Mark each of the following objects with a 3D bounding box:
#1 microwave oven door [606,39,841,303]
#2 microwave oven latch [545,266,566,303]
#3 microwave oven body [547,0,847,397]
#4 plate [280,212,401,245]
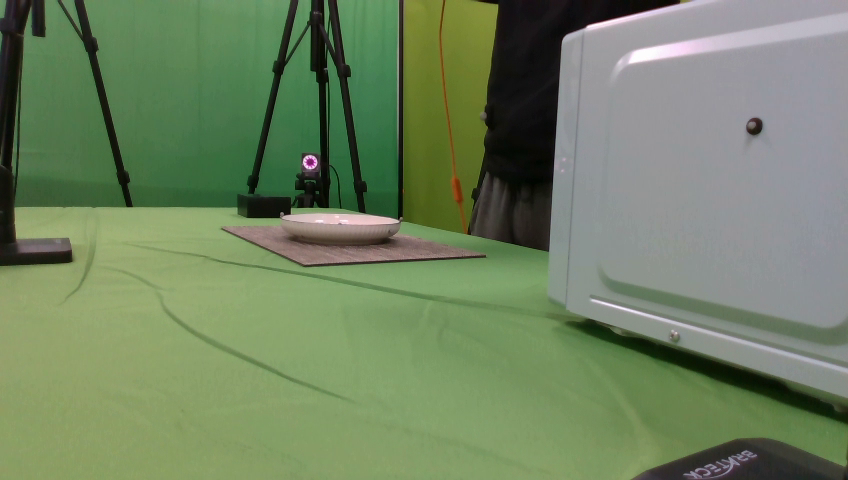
[{"bbox_3d":[0.341,-0.070,0.654,0.358,0.243,0.039,-3,9,-31],"label":"microwave oven door"},{"bbox_3d":[0.148,0.038,0.555,0.079,0.029,0.030,-2,7,-29],"label":"microwave oven latch"},{"bbox_3d":[0.379,-0.046,0.509,0.444,0.260,0.324,-2,8,-31],"label":"microwave oven body"},{"bbox_3d":[-0.146,-0.021,1.057,0.209,0.038,0.209,2,8,0],"label":"plate"}]
